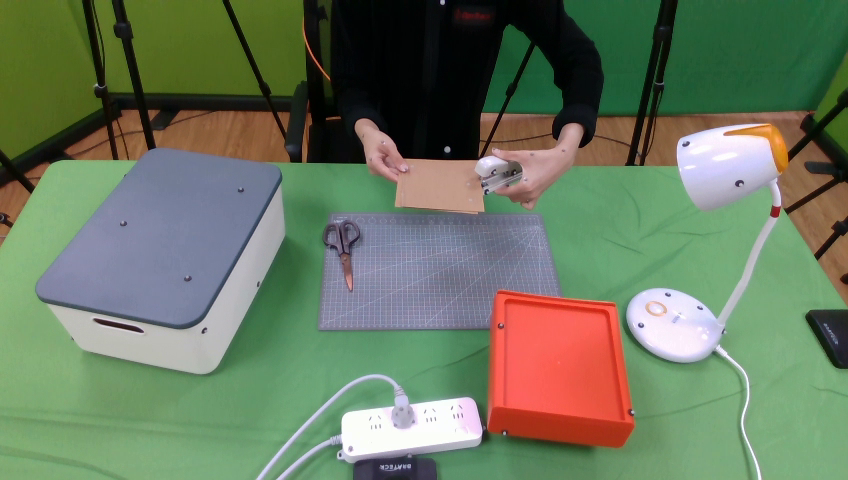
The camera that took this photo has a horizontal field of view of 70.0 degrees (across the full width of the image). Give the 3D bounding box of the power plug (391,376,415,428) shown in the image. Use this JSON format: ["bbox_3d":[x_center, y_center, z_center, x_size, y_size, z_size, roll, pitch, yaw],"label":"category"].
[{"bbox_3d":[-0.030,0.249,0.917,0.035,0.053,0.072,3,46,0],"label":"power plug"}]

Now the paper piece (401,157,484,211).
[{"bbox_3d":[0.030,-0.096,1.016,0.136,0.009,0.137,5,43,-6],"label":"paper piece"}]

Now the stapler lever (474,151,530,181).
[{"bbox_3d":[0.136,-0.134,1.044,0.118,0.040,0.026,-24,55,-31],"label":"stapler lever"}]

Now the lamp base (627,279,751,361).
[{"bbox_3d":[0.460,0.100,1.027,0.178,0.181,0.160,27,51,17],"label":"lamp base"}]

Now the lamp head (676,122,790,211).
[{"bbox_3d":[0.423,-0.104,0.819,0.122,0.113,0.112,-13,33,40],"label":"lamp head"}]

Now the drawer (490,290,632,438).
[{"bbox_3d":[0.203,0.185,0.934,0.194,0.073,0.210,7,47,1],"label":"drawer"}]

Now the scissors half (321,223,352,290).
[{"bbox_3d":[-0.163,0.031,1.159,0.040,0.013,0.174,-17,51,-14],"label":"scissors half"}]

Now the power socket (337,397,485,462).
[{"bbox_3d":[-0.018,0.285,0.915,0.227,0.033,0.071,-4,46,-8],"label":"power socket"}]

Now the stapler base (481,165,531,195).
[{"bbox_3d":[0.132,-0.116,1.060,0.130,0.024,0.041,-24,56,-31],"label":"stapler base"}]

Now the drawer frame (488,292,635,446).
[{"bbox_3d":[0.204,0.191,0.931,0.202,0.083,0.212,7,45,2],"label":"drawer frame"}]

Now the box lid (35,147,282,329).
[{"bbox_3d":[-0.411,-0.023,0.987,0.263,0.015,0.369,10,47,5],"label":"box lid"}]

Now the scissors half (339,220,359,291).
[{"bbox_3d":[-0.144,0.026,1.162,0.040,0.013,0.174,-7,50,1],"label":"scissors half"}]

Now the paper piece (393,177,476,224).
[{"bbox_3d":[0.024,-0.084,1.017,0.135,0.004,0.135,13,44,-1],"label":"paper piece"}]

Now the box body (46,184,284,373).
[{"bbox_3d":[-0.414,0.029,1.040,0.254,0.161,0.362,10,46,5],"label":"box body"}]
